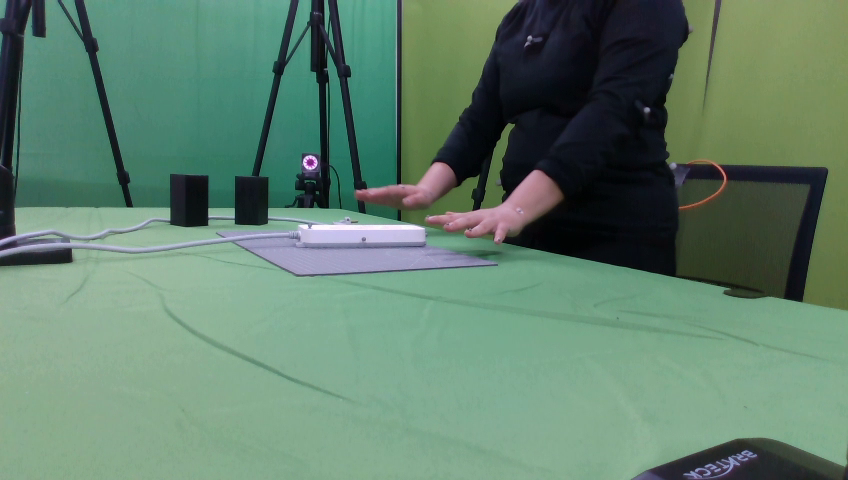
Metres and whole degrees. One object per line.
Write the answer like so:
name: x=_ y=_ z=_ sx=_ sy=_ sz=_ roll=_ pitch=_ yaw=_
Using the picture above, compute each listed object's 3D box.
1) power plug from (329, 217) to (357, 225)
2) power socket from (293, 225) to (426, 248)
power plug: x=-0.149 y=-0.030 z=1.127 sx=0.053 sy=0.035 sz=0.072 roll=-2 pitch=18 yaw=-16
power socket: x=-0.104 y=-0.008 z=1.003 sx=0.228 sy=0.032 sz=0.072 roll=-1 pitch=7 yaw=-23
